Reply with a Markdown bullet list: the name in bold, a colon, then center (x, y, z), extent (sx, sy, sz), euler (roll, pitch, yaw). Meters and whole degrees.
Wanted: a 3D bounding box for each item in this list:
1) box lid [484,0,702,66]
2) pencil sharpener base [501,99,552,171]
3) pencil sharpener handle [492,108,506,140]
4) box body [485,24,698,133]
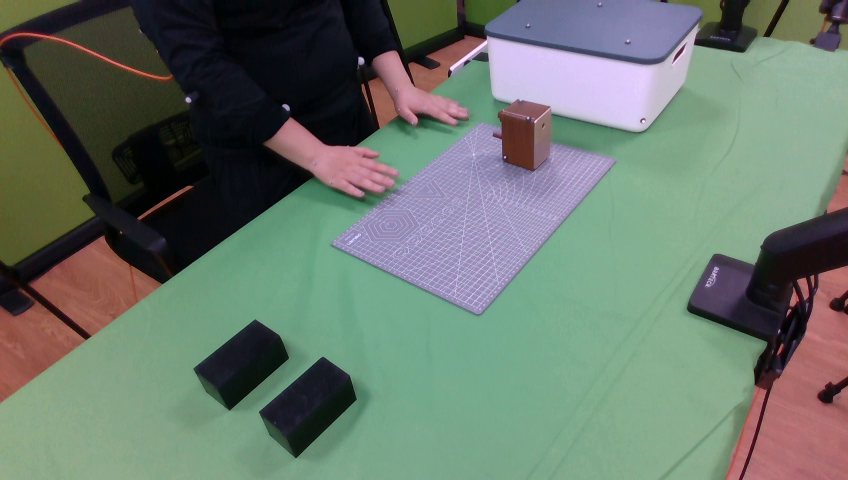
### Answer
- **box lid**: center (0.333, -0.428, 1.202), extent (0.368, 0.015, 0.264), euler (21, 48, 30)
- **pencil sharpener base**: center (0.184, -0.191, 1.097), extent (0.076, 0.107, 0.061), euler (23, 49, 32)
- **pencil sharpener handle**: center (0.141, -0.216, 1.114), extent (0.030, 0.068, 0.036), euler (23, 41, 32)
- **box body**: center (0.340, -0.373, 1.251), extent (0.361, 0.161, 0.255), euler (21, 48, 30)
